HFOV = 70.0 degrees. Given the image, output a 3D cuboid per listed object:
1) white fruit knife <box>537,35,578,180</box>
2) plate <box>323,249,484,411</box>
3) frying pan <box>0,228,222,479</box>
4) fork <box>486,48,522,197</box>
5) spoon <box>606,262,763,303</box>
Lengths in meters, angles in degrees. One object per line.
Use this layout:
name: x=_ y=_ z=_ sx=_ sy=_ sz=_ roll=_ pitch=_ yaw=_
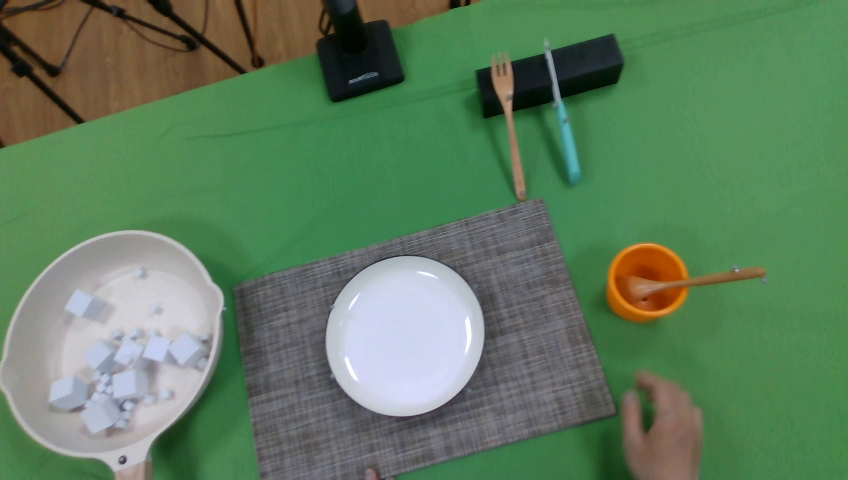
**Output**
white fruit knife: x=0.182 y=-0.185 z=0.838 sx=0.016 sy=0.027 sz=0.207 roll=-13 pitch=86 yaw=1
plate: x=-0.026 y=0.115 z=0.783 sx=0.207 sy=0.039 sz=0.206 roll=-2 pitch=72 yaw=6
frying pan: x=-0.371 y=0.216 z=0.757 sx=0.307 sy=0.103 sz=0.483 roll=-20 pitch=62 yaw=1
fork: x=0.114 y=-0.162 z=0.839 sx=0.028 sy=0.018 sz=0.207 roll=-10 pitch=90 yaw=-4
spoon: x=0.295 y=0.045 z=0.710 sx=0.193 sy=0.022 sz=0.041 roll=-15 pitch=70 yaw=45
